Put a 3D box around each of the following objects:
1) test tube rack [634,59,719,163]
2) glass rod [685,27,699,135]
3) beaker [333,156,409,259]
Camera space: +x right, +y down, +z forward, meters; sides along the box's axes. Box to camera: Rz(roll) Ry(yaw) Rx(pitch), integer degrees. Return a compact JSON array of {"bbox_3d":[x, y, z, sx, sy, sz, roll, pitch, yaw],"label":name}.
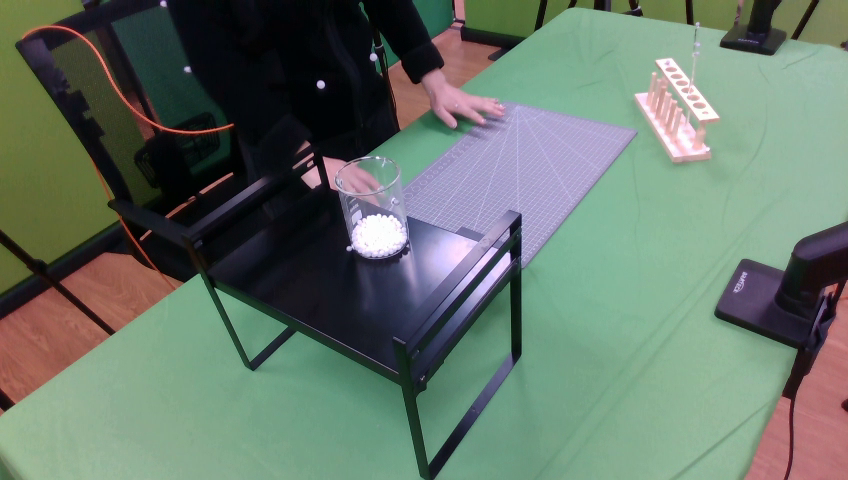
[{"bbox_3d":[0.470,-0.250,1.148,0.067,0.085,0.241,-6,40,3],"label":"test tube rack"},{"bbox_3d":[0.478,-0.279,1.078,0.008,0.200,0.008,-7,34,5],"label":"glass rod"},{"bbox_3d":[-0.055,-0.036,0.688,0.073,0.101,0.084,11,43,20],"label":"beaker"}]
